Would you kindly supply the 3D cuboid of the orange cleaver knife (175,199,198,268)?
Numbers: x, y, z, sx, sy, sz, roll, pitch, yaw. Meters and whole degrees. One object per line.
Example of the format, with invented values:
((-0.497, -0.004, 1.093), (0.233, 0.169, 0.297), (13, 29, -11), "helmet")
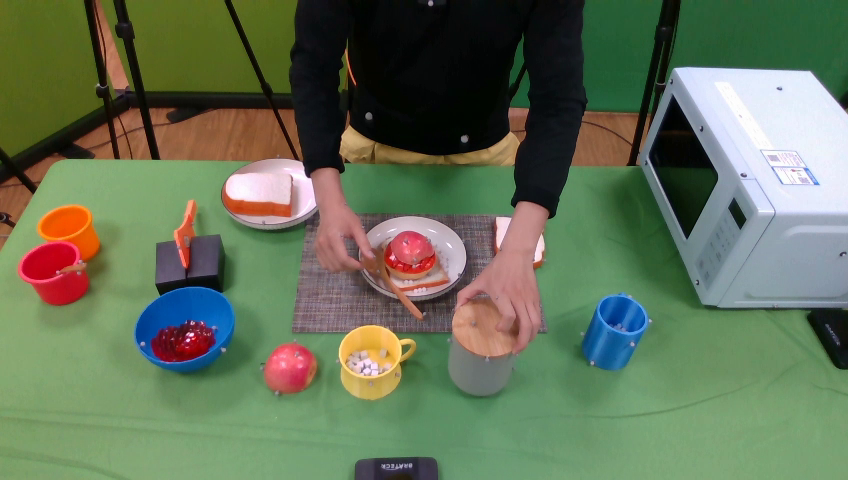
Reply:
((-0.438, -0.017, 1.138), (0.012, 0.077, 0.210), (-14, 27, -7), "orange cleaver knife")

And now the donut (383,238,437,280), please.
((-0.025, 0.029, 1.108), (0.099, 0.048, 0.098), (2, 48, -2), "donut")

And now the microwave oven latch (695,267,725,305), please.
((0.524, 0.082, 1.115), (0.030, 0.029, 0.078), (5, 46, 2), "microwave oven latch")

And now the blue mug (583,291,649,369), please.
((0.324, 0.142, 1.023), (0.082, 0.106, 0.116), (15, 47, 11), "blue mug")

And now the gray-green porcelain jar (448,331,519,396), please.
((0.092, 0.177, 0.960), (0.106, 0.127, 0.105), (2, 47, -2), "gray-green porcelain jar")

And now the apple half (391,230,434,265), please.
((-0.021, 0.004, 1.085), (0.081, 0.033, 0.081), (7, 43, -6), "apple half")

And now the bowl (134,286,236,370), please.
((-0.377, 0.156, 0.981), (0.151, 0.077, 0.150), (2, 46, -2), "bowl")

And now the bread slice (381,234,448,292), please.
((-0.027, 0.040, 1.143), (0.107, 0.018, 0.133), (-11, 50, -14), "bread slice")

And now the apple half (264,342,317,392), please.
((-0.214, 0.198, 0.970), (0.074, 0.053, 0.080), (19, 48, 11), "apple half")

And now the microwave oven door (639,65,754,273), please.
((0.522, -0.147, 1.193), (0.039, 0.245, 0.353), (0, 47, -3), "microwave oven door")

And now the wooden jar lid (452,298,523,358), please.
((0.095, 0.135, 0.915), (0.108, 0.021, 0.107), (3, 48, -3), "wooden jar lid")

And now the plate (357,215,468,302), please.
((-0.022, 0.037, 1.142), (0.208, 0.039, 0.206), (2, 47, -2), "plate")

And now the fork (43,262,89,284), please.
((-0.599, 0.053, 1.013), (0.207, 0.019, 0.028), (-14, 30, 45), "fork")

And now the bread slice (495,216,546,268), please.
((0.194, 0.002, 1.204), (0.105, 0.019, 0.131), (5, 45, 2), "bread slice")

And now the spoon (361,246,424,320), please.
((-0.057, 0.076, 1.075), (0.041, 0.022, 0.192), (-46, 51, 6), "spoon")

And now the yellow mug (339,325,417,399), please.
((-0.072, 0.191, 0.978), (0.131, 0.064, 0.099), (-17, 49, -20), "yellow mug")

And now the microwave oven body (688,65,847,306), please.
((0.669, -0.111, 1.176), (0.326, 0.261, 0.439), (0, 46, -3), "microwave oven body")

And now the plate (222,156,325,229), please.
((-0.308, -0.095, 1.251), (0.209, 0.038, 0.208), (2, 47, -2), "plate")
